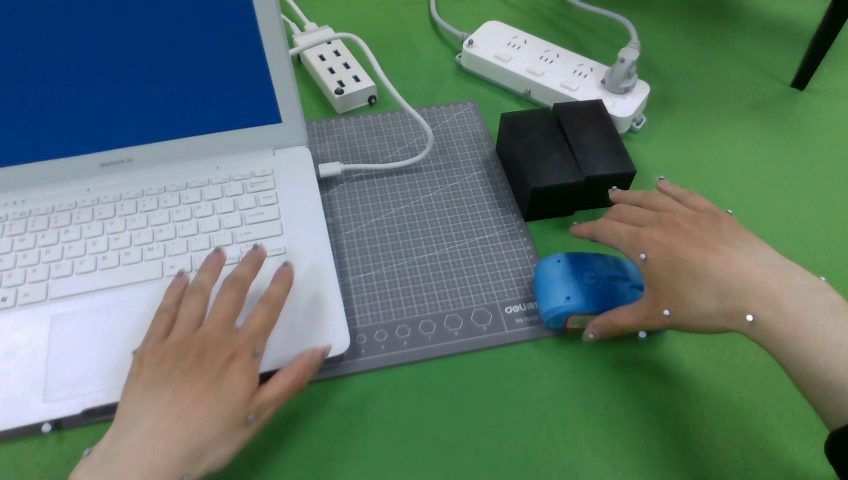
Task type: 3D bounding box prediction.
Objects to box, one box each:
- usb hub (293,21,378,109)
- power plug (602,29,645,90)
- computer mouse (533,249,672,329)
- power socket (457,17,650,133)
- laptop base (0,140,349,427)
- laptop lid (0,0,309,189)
[{"bbox_3d":[-0.102,-0.200,0.684,0.049,0.025,0.124,-24,58,-17],"label":"usb hub"},{"bbox_3d":[0.222,-0.185,0.651,0.072,0.053,0.035,-38,62,-24],"label":"power plug"},{"bbox_3d":[0.151,0.041,0.509,0.117,0.041,0.062,4,52,-5],"label":"computer mouse"},{"bbox_3d":[0.144,-0.188,0.679,0.225,0.033,0.072,31,58,20],"label":"power socket"},{"bbox_3d":[-0.256,0.029,0.518,0.355,0.023,0.233,-11,59,-9],"label":"laptop base"},{"bbox_3d":[-0.291,-0.153,0.505,0.357,0.244,0.013,-12,42,-8],"label":"laptop lid"}]
